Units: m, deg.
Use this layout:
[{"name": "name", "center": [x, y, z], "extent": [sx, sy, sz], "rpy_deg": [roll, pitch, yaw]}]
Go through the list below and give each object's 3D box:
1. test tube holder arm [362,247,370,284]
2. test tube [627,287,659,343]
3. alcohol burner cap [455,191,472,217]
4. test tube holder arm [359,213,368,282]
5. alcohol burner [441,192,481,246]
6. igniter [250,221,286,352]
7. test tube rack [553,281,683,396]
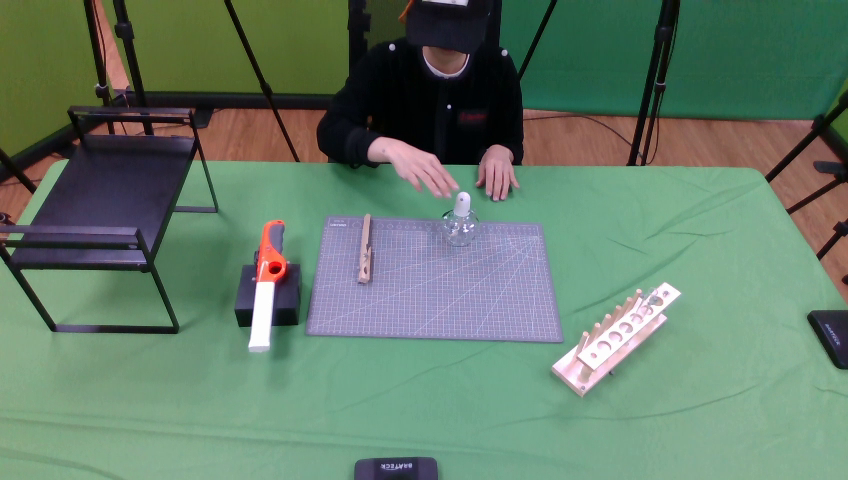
[{"name": "test tube holder arm", "center": [-0.110, 0.046, 1.144], "extent": [0.010, 0.015, 0.087], "rpy_deg": [29, 37, -28]}, {"name": "test tube", "center": [0.351, 0.125, 0.983], "extent": [0.017, 0.151, 0.017], "rpy_deg": [1, 50, -1]}, {"name": "alcohol burner cap", "center": [0.076, -0.071, 1.150], "extent": [0.034, 0.048, 0.033], "rpy_deg": [2, 44, -2]}, {"name": "test tube holder arm", "center": [-0.117, 0.011, 1.172], "extent": [0.013, 0.015, 0.177], "rpy_deg": [28, 37, -29]}, {"name": "alcohol burner", "center": [0.073, -0.046, 1.175], "extent": [0.078, 0.119, 0.077], "rpy_deg": [2, 44, -2]}, {"name": "igniter", "center": [-0.269, 0.068, 1.042], "extent": [0.057, 0.025, 0.274], "rpy_deg": [0, 48, -7]}, {"name": "test tube rack", "center": [0.329, 0.153, 1.022], "extent": [0.242, 0.085, 0.066], "rpy_deg": [-30, 54, -28]}]
